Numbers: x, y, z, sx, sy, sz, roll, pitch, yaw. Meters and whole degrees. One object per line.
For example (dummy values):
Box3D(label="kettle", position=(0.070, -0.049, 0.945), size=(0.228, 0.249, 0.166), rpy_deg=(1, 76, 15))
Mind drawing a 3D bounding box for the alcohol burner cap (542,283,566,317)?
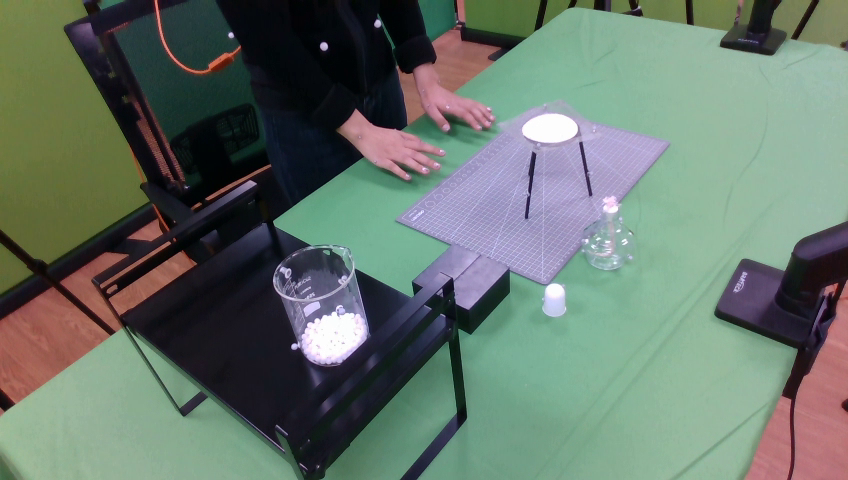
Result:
Box3D(label="alcohol burner cap", position=(0.181, 0.080, 0.840), size=(0.034, 0.048, 0.033), rpy_deg=(-3, 40, 3))

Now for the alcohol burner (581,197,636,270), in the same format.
Box3D(label="alcohol burner", position=(0.270, -0.015, 0.882), size=(0.078, 0.119, 0.077), rpy_deg=(-5, 42, 5))

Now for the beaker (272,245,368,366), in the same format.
Box3D(label="beaker", position=(-0.093, 0.064, 0.578), size=(0.073, 0.101, 0.084), rpy_deg=(21, 48, 29))

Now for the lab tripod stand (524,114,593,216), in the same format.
Box3D(label="lab tripod stand", position=(0.210, -0.127, 1.001), size=(0.148, 0.132, 0.147), rpy_deg=(-4, 43, 4))

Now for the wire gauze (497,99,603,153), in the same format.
Box3D(label="wire gauze", position=(0.199, -0.181, 0.962), size=(0.125, 0.011, 0.120), rpy_deg=(-20, 43, -13))
